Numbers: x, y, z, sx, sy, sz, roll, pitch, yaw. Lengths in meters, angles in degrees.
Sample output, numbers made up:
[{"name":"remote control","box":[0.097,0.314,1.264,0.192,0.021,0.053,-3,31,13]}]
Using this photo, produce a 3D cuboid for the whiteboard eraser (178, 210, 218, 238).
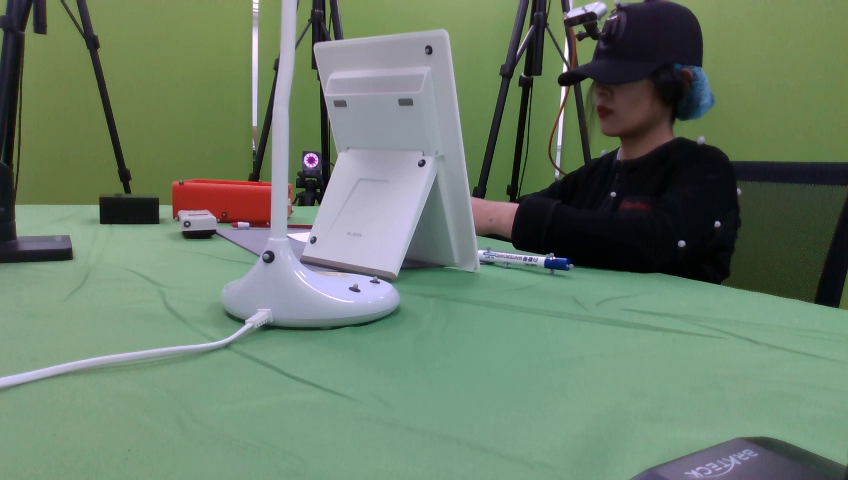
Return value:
[{"name":"whiteboard eraser","box":[-0.380,-0.027,1.014,0.056,0.042,0.112,0,8,-25]}]

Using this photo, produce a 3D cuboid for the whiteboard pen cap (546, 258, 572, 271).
[{"name":"whiteboard pen cap","box":[0.176,0.032,0.790,0.033,0.018,0.018,3,6,37]}]

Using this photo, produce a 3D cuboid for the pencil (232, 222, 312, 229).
[{"name":"pencil","box":[-0.261,-0.025,1.141,0.195,0.012,0.012,2,7,-26]}]

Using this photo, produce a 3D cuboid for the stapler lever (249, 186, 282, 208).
[{"name":"stapler lever","box":[-0.341,-0.092,1.308,0.027,0.040,0.118,20,4,12]}]

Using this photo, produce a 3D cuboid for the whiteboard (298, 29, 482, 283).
[{"name":"whiteboard","box":[-0.075,-0.082,0.742,0.216,0.305,0.144,9,29,37]}]

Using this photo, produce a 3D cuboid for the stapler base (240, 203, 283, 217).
[{"name":"stapler base","box":[-0.349,-0.066,1.309,0.041,0.024,0.131,20,6,12]}]

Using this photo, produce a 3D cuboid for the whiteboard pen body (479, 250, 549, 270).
[{"name":"whiteboard pen body","box":[0.130,0.028,0.827,0.140,0.017,0.017,7,9,38]}]

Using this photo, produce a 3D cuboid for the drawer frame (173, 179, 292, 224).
[{"name":"drawer frame","box":[-0.400,-0.086,1.300,0.214,0.082,0.201,1,8,-8]}]

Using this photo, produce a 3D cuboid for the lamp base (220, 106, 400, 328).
[{"name":"lamp base","box":[-0.101,-0.023,0.531,0.160,0.180,0.179,4,10,10]}]

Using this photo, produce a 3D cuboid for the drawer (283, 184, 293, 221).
[{"name":"drawer","box":[-0.396,-0.085,1.301,0.212,0.073,0.194,1,8,-7]}]
